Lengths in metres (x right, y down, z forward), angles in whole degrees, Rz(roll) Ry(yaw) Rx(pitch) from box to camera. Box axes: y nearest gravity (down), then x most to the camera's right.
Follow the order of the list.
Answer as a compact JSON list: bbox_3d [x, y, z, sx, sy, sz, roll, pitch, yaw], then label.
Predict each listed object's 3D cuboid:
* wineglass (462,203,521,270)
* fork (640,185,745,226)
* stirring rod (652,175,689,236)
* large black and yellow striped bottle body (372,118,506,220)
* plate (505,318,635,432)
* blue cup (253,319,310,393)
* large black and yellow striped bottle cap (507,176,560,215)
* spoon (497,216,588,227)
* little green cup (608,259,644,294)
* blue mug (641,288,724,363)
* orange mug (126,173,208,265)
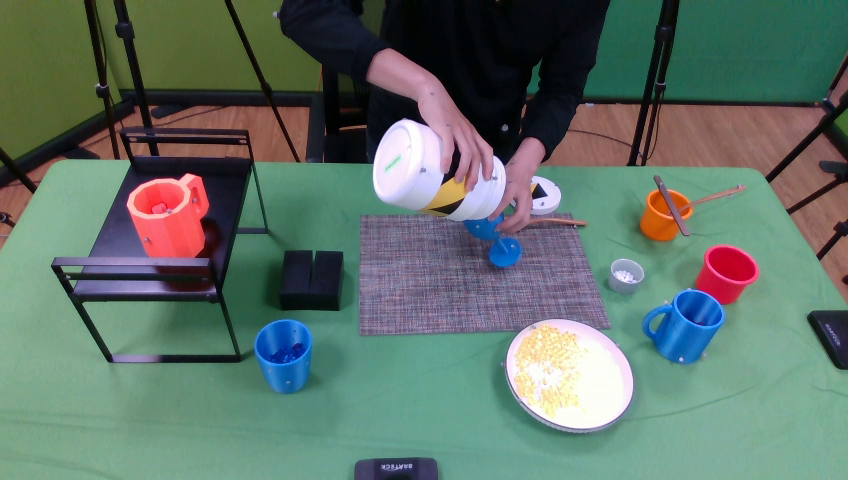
[{"bbox_3d":[0.120,-0.020,1.091,0.073,0.173,0.073,-13,55,20],"label":"wineglass"},{"bbox_3d":[0.534,-0.069,1.215,0.207,0.019,0.028,-26,28,33],"label":"fork"},{"bbox_3d":[0.492,-0.072,1.211,0.014,0.006,0.175,0,46,-7],"label":"stirring rod"},{"bbox_3d":[0.025,-0.104,0.953,0.185,0.131,0.130,12,39,-33],"label":"large black and yellow striped bottle body"},{"bbox_3d":[0.235,0.221,0.991,0.209,0.038,0.208,2,45,-2],"label":"plate"},{"bbox_3d":[-0.217,0.187,0.943,0.093,0.101,0.092,4,45,-3],"label":"blue cup"},{"bbox_3d":[0.237,-0.098,1.312,0.115,0.019,0.114,2,43,-1],"label":"large black and yellow striped bottle cap"},{"bbox_3d":[0.246,-0.039,1.247,0.194,0.022,0.041,-2,24,-6],"label":"spoon"},{"bbox_3d":[0.379,0.070,1.147,0.061,0.039,0.061,3,45,-3],"label":"little green cup"},{"bbox_3d":[0.432,0.144,1.033,0.116,0.106,0.082,9,46,5],"label":"blue mug"},{"bbox_3d":[-0.371,-0.039,0.902,0.083,0.101,0.126,18,51,13],"label":"orange mug"}]
